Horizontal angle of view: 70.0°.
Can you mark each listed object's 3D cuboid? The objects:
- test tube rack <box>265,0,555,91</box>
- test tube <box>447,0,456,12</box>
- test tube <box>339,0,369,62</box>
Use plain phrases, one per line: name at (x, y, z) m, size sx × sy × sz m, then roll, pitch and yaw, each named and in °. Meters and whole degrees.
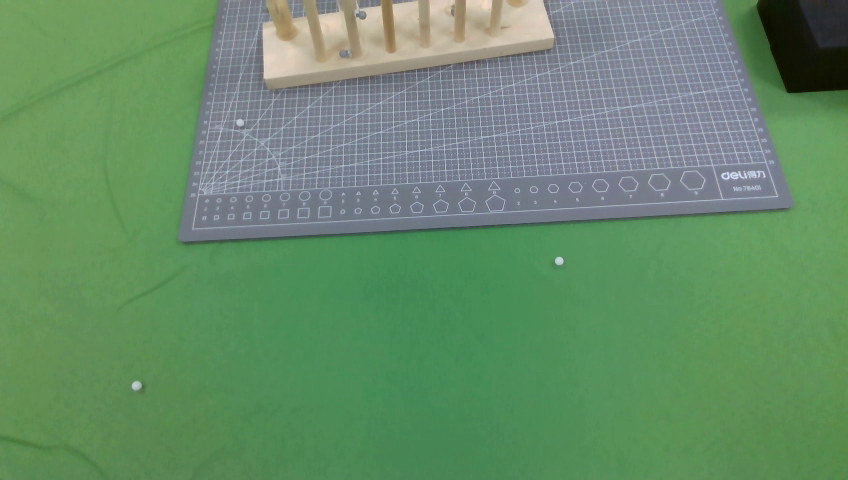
test tube rack at (-0.016, -0.190, 0.490) m, size 0.242 × 0.086 × 0.066 m, roll -9°, pitch 62°, yaw -1°
test tube at (0.021, -0.238, 0.456) m, size 0.017 × 0.151 × 0.017 m, roll -3°, pitch 58°, yaw 5°
test tube at (-0.057, -0.189, 0.441) m, size 0.017 × 0.152 × 0.017 m, roll -1°, pitch 61°, yaw 3°
